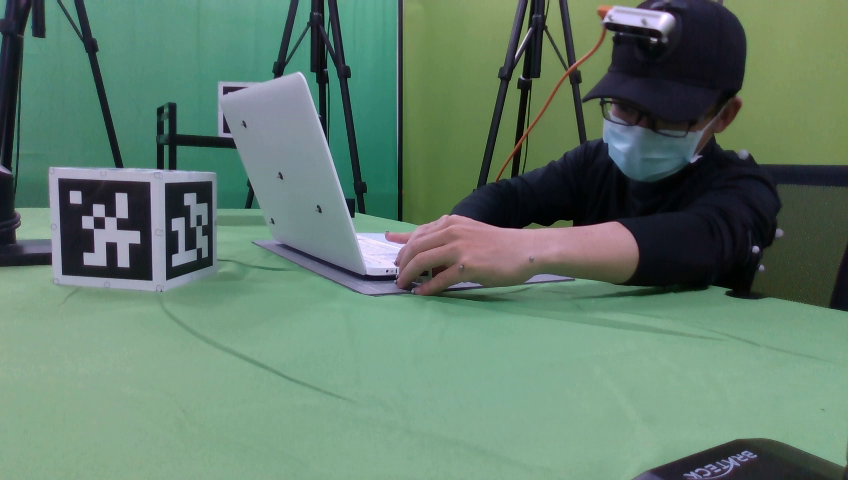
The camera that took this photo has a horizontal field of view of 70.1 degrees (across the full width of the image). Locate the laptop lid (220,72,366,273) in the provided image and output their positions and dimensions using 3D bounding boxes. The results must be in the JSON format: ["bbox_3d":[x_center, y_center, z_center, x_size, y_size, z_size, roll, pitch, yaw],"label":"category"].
[{"bbox_3d":[-0.188,-0.087,0.801,0.013,0.242,0.355,-26,21,-26],"label":"laptop lid"}]

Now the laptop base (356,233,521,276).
[{"bbox_3d":[-0.056,0.018,0.898,0.237,0.023,0.352,2,6,-32],"label":"laptop base"}]

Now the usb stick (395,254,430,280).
[{"bbox_3d":[-0.017,0.030,0.692,0.021,0.027,0.059,-5,4,-33],"label":"usb stick"}]
